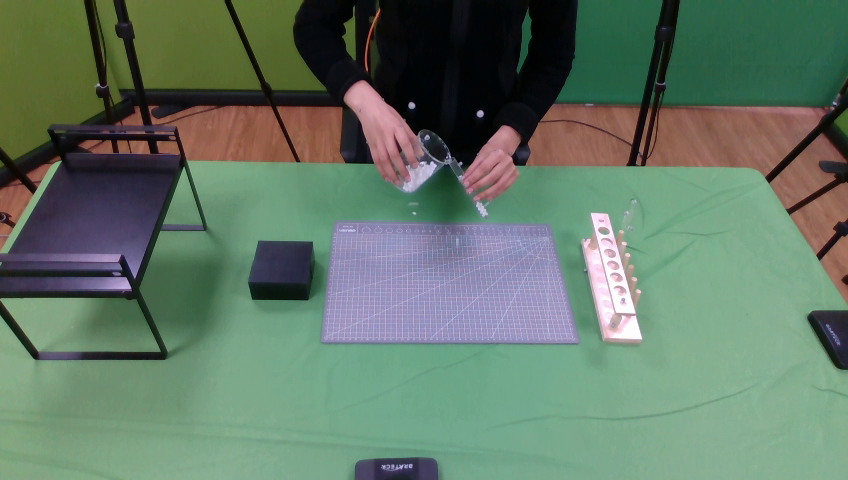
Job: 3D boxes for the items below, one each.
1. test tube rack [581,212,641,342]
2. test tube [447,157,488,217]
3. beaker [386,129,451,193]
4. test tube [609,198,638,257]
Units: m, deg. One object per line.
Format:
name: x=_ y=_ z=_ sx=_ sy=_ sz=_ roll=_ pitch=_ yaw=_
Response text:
test tube rack: x=0.351 y=0.063 z=1.121 sx=0.067 sy=0.085 sz=0.241 roll=3 pitch=46 yaw=-1
test tube: x=0.083 y=-0.096 z=1.122 sx=0.017 sy=0.151 sz=0.017 roll=-22 pitch=39 yaw=19
beaker: x=-0.012 y=-0.137 z=1.084 sx=0.084 sy=0.100 sz=0.073 roll=27 pitch=41 yaw=-29
test tube: x=0.375 y=-0.021 z=1.141 sx=0.017 sy=0.151 sz=0.017 roll=2 pitch=45 yaw=-1
